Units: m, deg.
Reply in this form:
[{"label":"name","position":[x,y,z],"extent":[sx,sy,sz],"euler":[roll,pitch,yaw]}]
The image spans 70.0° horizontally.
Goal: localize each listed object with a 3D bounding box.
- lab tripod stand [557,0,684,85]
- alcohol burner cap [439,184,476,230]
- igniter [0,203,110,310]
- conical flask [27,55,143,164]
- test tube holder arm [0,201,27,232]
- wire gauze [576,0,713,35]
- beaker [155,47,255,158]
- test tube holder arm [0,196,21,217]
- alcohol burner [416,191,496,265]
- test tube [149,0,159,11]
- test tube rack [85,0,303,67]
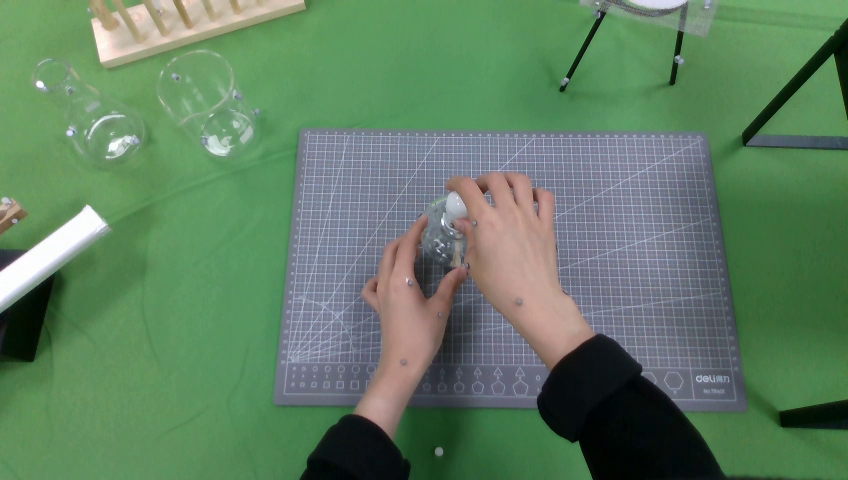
[{"label":"lab tripod stand","position":[0.215,-0.235,0.643],"extent":[0.148,0.132,0.147],"euler":[1,70,-1]},{"label":"alcohol burner cap","position":[0.031,-0.032,0.542],"extent":[0.034,0.048,0.033],"euler":[0,68,0]},{"label":"igniter","position":[-0.413,0.064,0.548],"extent":[0.057,0.025,0.276],"euler":[44,73,12]},{"label":"conical flask","position":[-0.348,-0.136,0.616],"extent":[0.075,0.122,0.075],"euler":[0,70,1]},{"label":"test tube holder arm","position":[-0.421,-0.004,0.575],"extent":[0.088,0.015,0.010],"euler":[-41,76,-14]},{"label":"wire gauze","position":[0.222,-0.259,0.580],"extent":[0.121,0.011,0.124],"euler":[22,73,6]},{"label":"beaker","position":[-0.222,-0.134,0.628],"extent":[0.074,0.101,0.083],"euler":[15,72,6]},{"label":"test tube holder arm","position":[-0.457,0.022,0.565],"extent":[0.178,0.015,0.013],"euler":[-43,76,-14]},{"label":"alcohol burner","position":[0.032,-0.019,0.577],"extent":[0.078,0.120,0.077],"euler":[1,69,-1]},{"label":"test tube","position":[-0.314,-0.303,0.640],"extent":[0.017,0.151,0.017],"euler":[1,64,-1]},{"label":"test tube rack","position":[-0.270,-0.282,0.686],"extent":[0.242,0.086,0.066],"euler":[-19,72,-6]}]
